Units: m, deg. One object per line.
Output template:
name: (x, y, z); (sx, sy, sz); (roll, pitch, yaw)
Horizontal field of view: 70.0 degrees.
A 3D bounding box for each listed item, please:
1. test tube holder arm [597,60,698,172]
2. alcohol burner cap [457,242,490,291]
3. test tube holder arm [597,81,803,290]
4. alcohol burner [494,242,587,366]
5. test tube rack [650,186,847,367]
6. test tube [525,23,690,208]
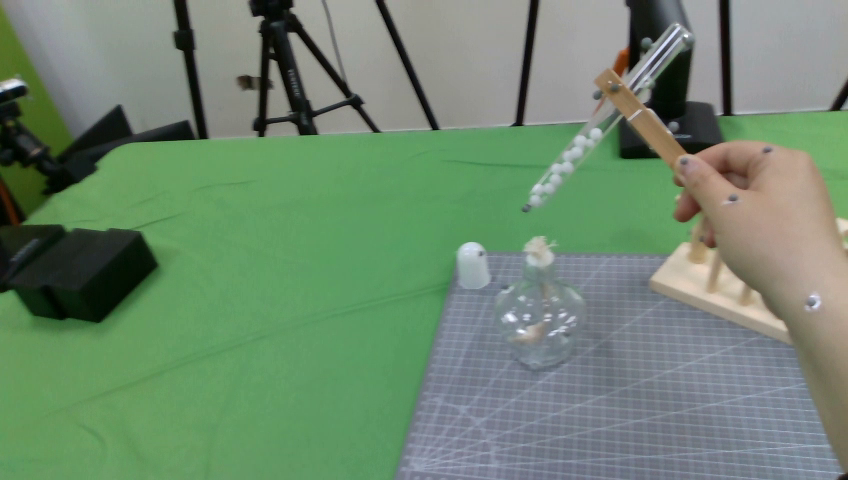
test tube holder arm: (0.143, -0.080, 0.391); (0.015, 0.010, 0.087); (-34, 76, 4)
alcohol burner cap: (0.048, 0.023, 0.602); (0.034, 0.048, 0.033); (-6, 39, 5)
test tube holder arm: (0.167, -0.043, 0.380); (0.015, 0.013, 0.177); (-34, 65, 4)
alcohol burner: (0.095, 0.048, 0.499); (0.078, 0.120, 0.077); (-6, 39, 5)
test tube rack: (0.312, 0.035, 0.483); (0.240, 0.086, 0.066); (24, 50, 38)
test tube: (0.120, -0.080, 0.411); (0.017, 0.150, 0.017); (31, 25, -16)
